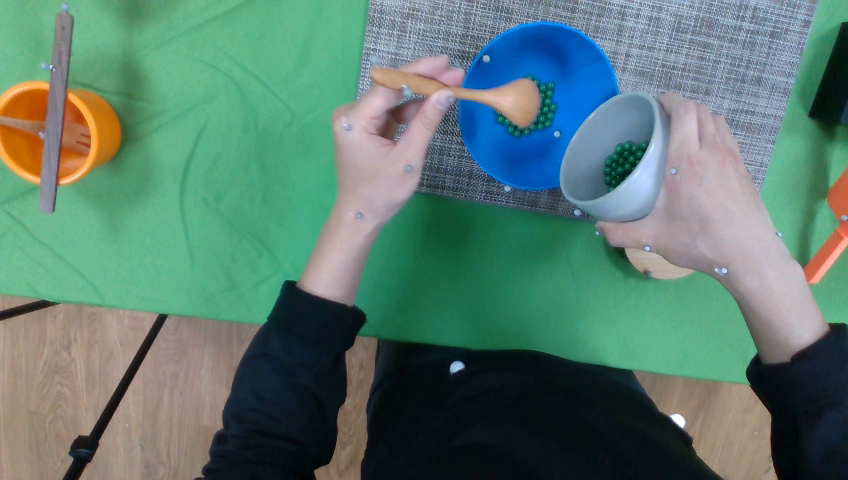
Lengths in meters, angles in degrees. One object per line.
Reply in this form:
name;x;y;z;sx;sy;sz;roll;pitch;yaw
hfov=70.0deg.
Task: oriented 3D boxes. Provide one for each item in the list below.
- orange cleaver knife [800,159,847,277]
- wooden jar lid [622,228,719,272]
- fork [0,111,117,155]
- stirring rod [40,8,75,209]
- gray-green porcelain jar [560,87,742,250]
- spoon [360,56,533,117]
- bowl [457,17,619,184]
orange cleaver knife;0.458;-0.048;0.642;0.012;0.076;0.213;4;135;-8
wooden jar lid;0.269;-0.017;0.665;0.108;0.020;0.109;-1;112;-2
fork;-0.373;-0.112;0.525;0.028;0.018;0.209;-51;147;17
stirring rod;-0.320;-0.111;0.528;0.014;0.006;0.176;12;105;-10
gray-green porcelain jar;0.201;-0.056;0.529;0.127;0.105;0.106;25;103;-26
spoon;0.026;-0.118;0.459;0.195;0.021;0.042;-6;103;-42
bowl;0.103;-0.134;0.588;0.151;0.076;0.152;-1;106;-4
